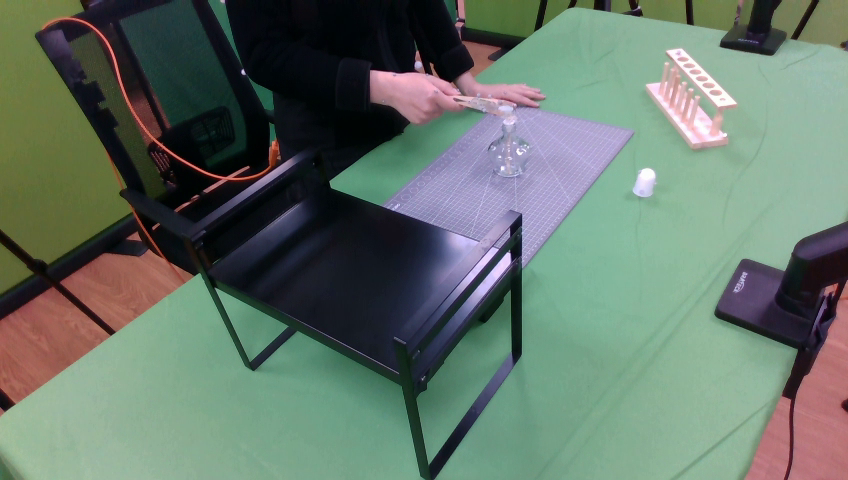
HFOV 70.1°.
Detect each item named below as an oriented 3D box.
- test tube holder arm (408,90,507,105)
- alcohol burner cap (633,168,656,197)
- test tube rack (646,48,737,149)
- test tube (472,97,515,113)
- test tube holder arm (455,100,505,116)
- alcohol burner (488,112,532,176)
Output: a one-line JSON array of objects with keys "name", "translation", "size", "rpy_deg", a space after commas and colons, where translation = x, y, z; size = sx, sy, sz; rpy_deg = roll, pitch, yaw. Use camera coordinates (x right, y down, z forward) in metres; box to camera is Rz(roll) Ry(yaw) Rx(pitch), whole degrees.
[{"name": "test tube holder arm", "translation": [0.053, -0.236, 1.002], "size": [0.177, 0.013, 0.015], "rpy_deg": [14, 13, 25]}, {"name": "alcohol burner cap", "translation": [0.374, -0.099, 1.018], "size": [0.034, 0.048, 0.033], "rpy_deg": [-1, 42, 1]}, {"name": "test tube rack", "translation": [0.511, -0.280, 1.175], "size": [0.067, 0.085, 0.241], "rpy_deg": [-8, 41, 1]}, {"name": "test tube", "translation": [0.115, -0.218, 0.981], "size": [0.017, 0.017, 0.151], "rpy_deg": [17, 15, 27]}, {"name": "test tube holder arm", "translation": [0.091, -0.219, 0.985], "size": [0.087, 0.010, 0.015], "rpy_deg": [24, 18, 23]}, {"name": "alcohol burner", "translation": [0.155, -0.176, 1.083], "size": [0.078, 0.119, 0.077], "rpy_deg": [-3, 41, 3]}]
